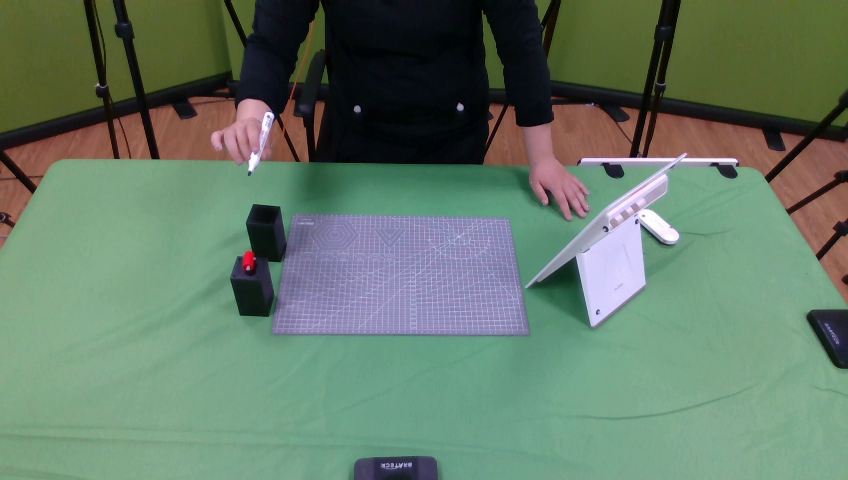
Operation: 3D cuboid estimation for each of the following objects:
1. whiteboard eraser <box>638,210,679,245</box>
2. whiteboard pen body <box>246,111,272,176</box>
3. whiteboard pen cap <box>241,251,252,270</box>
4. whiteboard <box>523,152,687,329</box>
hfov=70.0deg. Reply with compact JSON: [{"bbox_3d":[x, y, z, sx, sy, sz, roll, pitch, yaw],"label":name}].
[{"bbox_3d":[0.485,-0.027,1.260,0.041,0.019,0.100,-21,50,-21],"label":"whiteboard eraser"},{"bbox_3d":[-0.277,-0.162,1.014,0.017,0.017,0.140,7,58,2],"label":"whiteboard pen body"},{"bbox_3d":[-0.294,0.033,1.005,0.017,0.017,0.032,-3,44,-7],"label":"whiteboard pen cap"},{"bbox_3d":[0.346,0.025,1.046,0.217,0.306,0.143,-30,74,-29],"label":"whiteboard"}]
